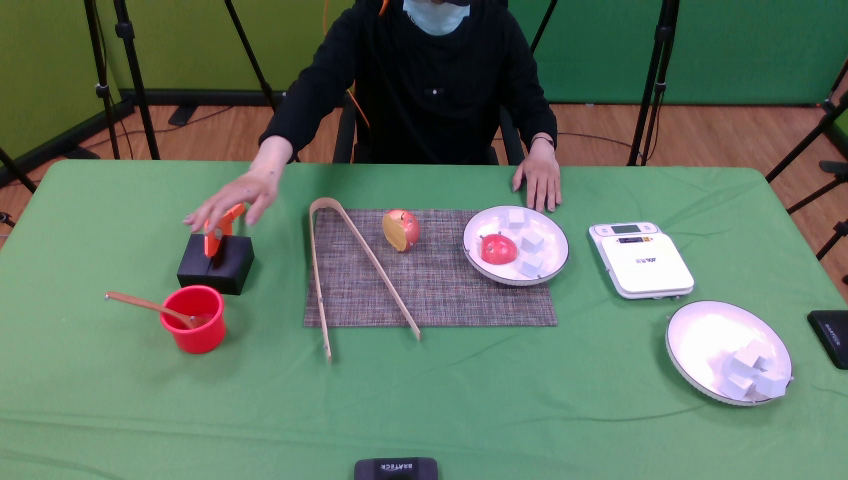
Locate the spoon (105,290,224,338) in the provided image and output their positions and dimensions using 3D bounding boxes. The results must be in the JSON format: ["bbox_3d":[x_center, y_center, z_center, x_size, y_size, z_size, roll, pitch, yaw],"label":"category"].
[{"bbox_3d":[-0.411,0.115,0.971,0.195,0.021,0.041,32,36,-37],"label":"spoon"}]

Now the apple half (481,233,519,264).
[{"bbox_3d":[0.147,0.010,1.174,0.081,0.033,0.081,0,46,0],"label":"apple half"}]

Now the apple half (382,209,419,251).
[{"bbox_3d":[-0.039,-0.022,1.175,0.053,0.075,0.080,-27,49,-31],"label":"apple half"}]

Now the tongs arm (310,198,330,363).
[{"bbox_3d":[-0.180,0.058,1.117,0.051,0.026,0.382,-9,47,-11],"label":"tongs arm"}]

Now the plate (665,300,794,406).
[{"bbox_3d":[0.513,0.194,1.034,0.208,0.039,0.206,2,46,-2],"label":"plate"}]

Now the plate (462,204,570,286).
[{"bbox_3d":[0.177,0.013,1.180,0.209,0.038,0.208,2,46,-2],"label":"plate"}]

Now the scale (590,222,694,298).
[{"bbox_3d":[0.424,0.031,1.189,0.149,0.032,0.199,-3,46,-7],"label":"scale"}]

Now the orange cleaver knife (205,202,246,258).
[{"bbox_3d":[-0.376,-0.024,1.151,0.012,0.077,0.210,0,16,2],"label":"orange cleaver knife"}]

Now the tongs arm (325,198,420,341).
[{"bbox_3d":[-0.102,0.042,1.140,0.028,0.028,0.385,-22,51,-18],"label":"tongs arm"}]
